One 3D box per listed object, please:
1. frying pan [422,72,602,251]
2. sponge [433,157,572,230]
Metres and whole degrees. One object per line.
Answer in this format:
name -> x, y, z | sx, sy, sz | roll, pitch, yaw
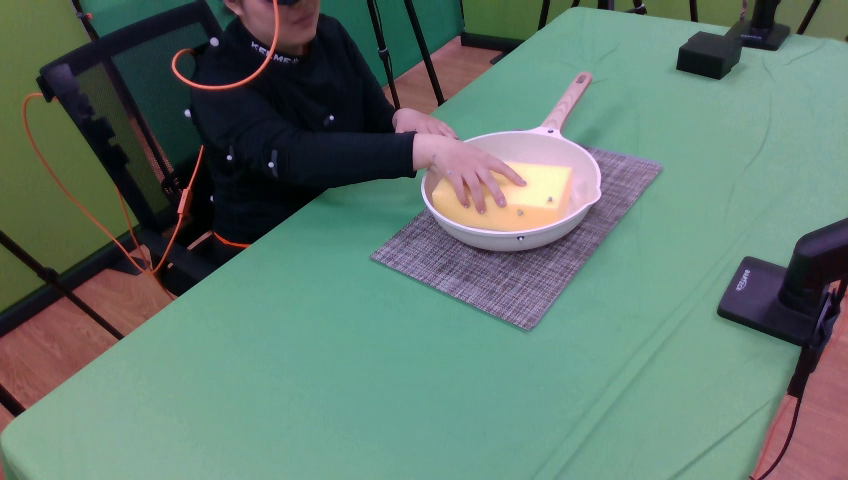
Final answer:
frying pan -> 0.199, -0.155, 1.062 | 0.304, 0.103, 0.488 | 19, 56, 28
sponge -> 0.133, -0.074, 1.006 | 0.206, 0.061, 0.118 | 7, 43, 19
